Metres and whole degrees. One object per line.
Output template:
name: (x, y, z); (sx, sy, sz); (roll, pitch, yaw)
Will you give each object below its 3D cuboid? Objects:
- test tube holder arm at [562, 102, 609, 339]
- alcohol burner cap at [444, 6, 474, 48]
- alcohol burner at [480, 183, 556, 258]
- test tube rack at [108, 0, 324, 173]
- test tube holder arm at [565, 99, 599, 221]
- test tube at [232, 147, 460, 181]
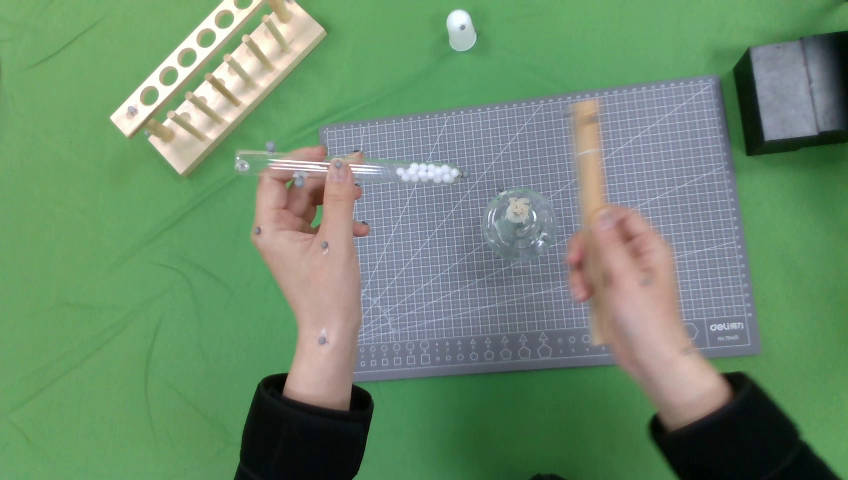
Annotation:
test tube holder arm: (0.121, -0.013, 0.449); (0.015, 0.013, 0.179); (-9, 98, -3)
alcohol burner cap: (0.039, -0.244, 0.686); (0.034, 0.048, 0.033); (-2, 76, 10)
alcohol burner: (0.094, -0.023, 0.608); (0.078, 0.120, 0.077); (-2, 79, 10)
test tube rack: (-0.233, -0.195, 0.696); (0.242, 0.085, 0.066); (-46, 78, 0)
test tube holder arm: (0.115, -0.057, 0.438); (0.015, 0.010, 0.088); (-9, 98, -3)
test tube: (-0.047, -0.049, 0.397); (0.151, 0.017, 0.017); (0, 80, -20)
